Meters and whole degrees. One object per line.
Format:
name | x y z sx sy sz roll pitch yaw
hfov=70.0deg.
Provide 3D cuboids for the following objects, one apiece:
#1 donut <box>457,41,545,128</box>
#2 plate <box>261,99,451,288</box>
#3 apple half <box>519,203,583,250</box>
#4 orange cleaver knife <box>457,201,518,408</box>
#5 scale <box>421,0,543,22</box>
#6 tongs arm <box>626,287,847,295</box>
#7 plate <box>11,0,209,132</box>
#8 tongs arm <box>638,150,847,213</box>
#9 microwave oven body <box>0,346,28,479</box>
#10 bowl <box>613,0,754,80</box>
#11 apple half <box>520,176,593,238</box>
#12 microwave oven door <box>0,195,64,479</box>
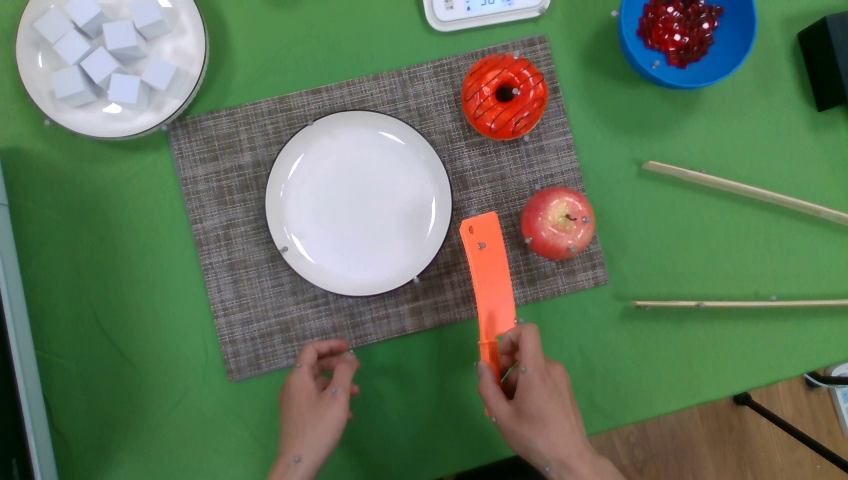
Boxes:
donut | 0.086 -0.175 0.685 0.099 0.048 0.099 0 89 0
plate | -0.074 -0.051 0.678 0.209 0.038 0.209 0 89 -2
apple half | 0.132 -0.008 0.667 0.081 0.081 0.033 31 84 -1
orange cleaver knife | 0.071 0.061 0.621 0.078 0.012 0.210 1 79 -45
scale | 0.057 -0.362 0.699 0.149 0.031 0.200 -10 89 -2
tongs arm | 0.427 0.041 0.702 0.385 0.026 0.050 1 85 -3
plate | -0.343 -0.221 0.675 0.208 0.039 0.207 0 88 -2
tongs arm | 0.436 -0.045 0.707 0.388 0.028 0.028 16 80 -2
microwave oven body | -0.585 0.112 0.542 0.326 0.260 0.441 -12 89 -3
bowl | 0.278 -0.246 0.682 0.151 0.077 0.151 0 89 -2
apple half | 0.151 -0.042 0.670 0.081 0.075 0.053 30 84 3
microwave oven door | -0.433 0.123 0.543 0.039 0.244 0.355 -12 89 -2
